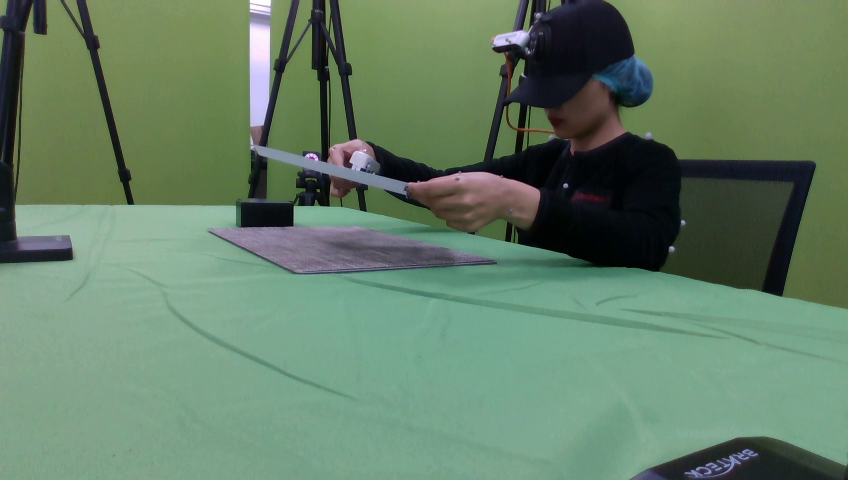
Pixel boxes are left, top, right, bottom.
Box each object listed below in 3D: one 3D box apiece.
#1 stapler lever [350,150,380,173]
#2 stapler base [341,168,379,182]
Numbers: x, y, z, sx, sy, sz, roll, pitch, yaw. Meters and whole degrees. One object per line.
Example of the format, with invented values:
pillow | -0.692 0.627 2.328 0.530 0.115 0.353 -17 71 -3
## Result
stapler lever | -0.100 -0.136 1.046 0.027 0.040 0.118 27 15 6
stapler base | -0.107 -0.119 1.048 0.041 0.024 0.131 27 8 5
